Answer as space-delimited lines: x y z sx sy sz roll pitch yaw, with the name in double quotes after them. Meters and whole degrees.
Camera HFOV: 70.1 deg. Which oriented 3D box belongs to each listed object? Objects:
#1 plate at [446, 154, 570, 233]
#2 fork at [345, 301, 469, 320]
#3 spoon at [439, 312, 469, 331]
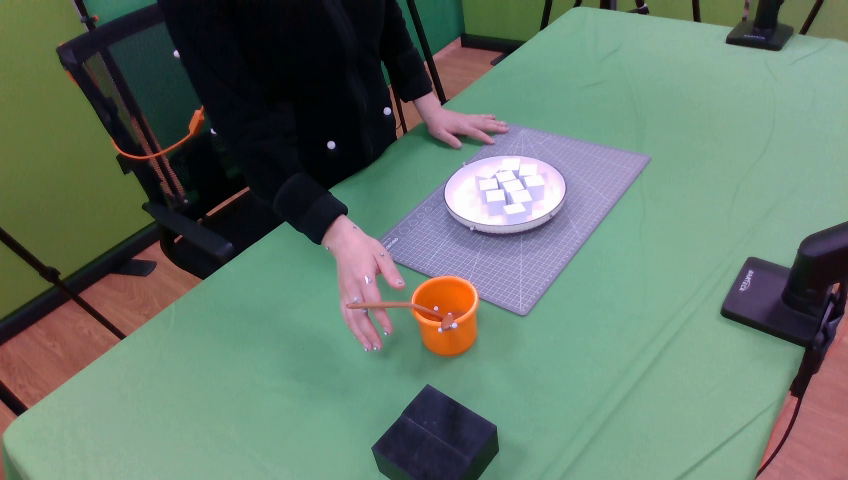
0.142 -0.076 1.033 0.207 0.039 0.206 -5 40 5 "plate"
-0.017 0.090 0.775 0.209 0.018 0.028 14 -2 -44 "fork"
0.033 0.101 0.760 0.041 0.194 0.021 1 83 7 "spoon"
